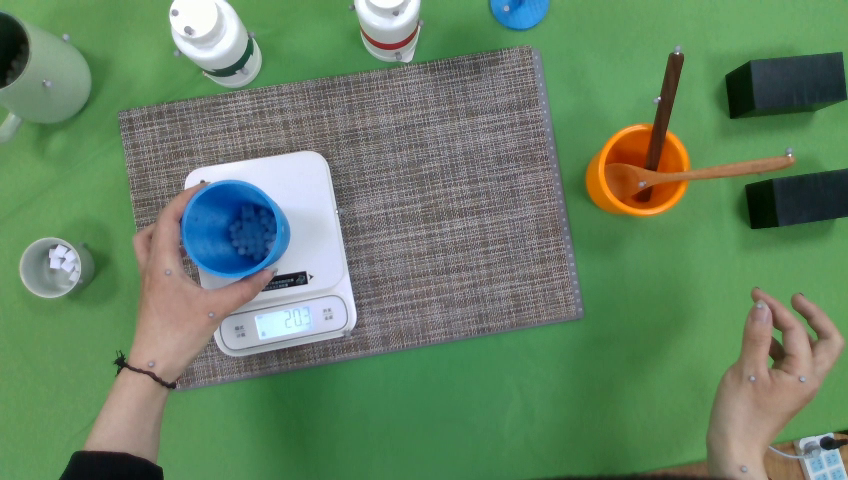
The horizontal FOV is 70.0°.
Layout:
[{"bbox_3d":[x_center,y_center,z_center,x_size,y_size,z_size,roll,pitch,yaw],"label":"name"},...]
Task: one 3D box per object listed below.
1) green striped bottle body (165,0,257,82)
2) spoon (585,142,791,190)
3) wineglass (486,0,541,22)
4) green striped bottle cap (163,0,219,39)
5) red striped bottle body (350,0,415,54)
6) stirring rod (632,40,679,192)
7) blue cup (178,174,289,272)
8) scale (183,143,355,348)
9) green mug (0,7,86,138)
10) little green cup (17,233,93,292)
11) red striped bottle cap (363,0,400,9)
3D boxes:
[{"bbox_3d":[-0.208,-0.201,0.592,0.063,0.119,0.063,0,89,-2],"label":"green striped bottle body"},{"bbox_3d":[0.251,-0.075,0.597,0.021,0.192,0.042,-32,112,-42],"label":"spoon"},{"bbox_3d":[0.100,-0.273,0.579,0.074,0.172,0.073,0,89,-2],"label":"wineglass"},{"bbox_3d":[-0.206,-0.203,0.536,0.044,0.020,0.044,0,89,-1],"label":"green striped bottle cap"},{"bbox_3d":[-0.041,-0.233,0.600,0.063,0.119,0.063,0,89,-3],"label":"red striped bottle body"},{"bbox_3d":[0.226,-0.114,0.595,0.014,0.178,0.006,6,49,13],"label":"stirring rod"},{"bbox_3d":[-0.167,-0.012,0.568,0.093,0.100,0.092,0,88,-3],"label":"blue cup"},{"bbox_3d":[-0.161,0.006,0.634,0.149,0.031,0.201,-11,91,-2],"label":"scale"},{"bbox_3d":[-0.405,-0.157,0.591,0.092,0.105,0.125,25,89,-2],"label":"green mug"},{"bbox_3d":[-0.377,0.023,0.625,0.061,0.038,0.061,0,90,-3],"label":"little green cup"},{"bbox_3d":[-0.039,-0.233,0.546,0.044,0.018,0.044,0,87,-1],"label":"red striped bottle cap"}]
